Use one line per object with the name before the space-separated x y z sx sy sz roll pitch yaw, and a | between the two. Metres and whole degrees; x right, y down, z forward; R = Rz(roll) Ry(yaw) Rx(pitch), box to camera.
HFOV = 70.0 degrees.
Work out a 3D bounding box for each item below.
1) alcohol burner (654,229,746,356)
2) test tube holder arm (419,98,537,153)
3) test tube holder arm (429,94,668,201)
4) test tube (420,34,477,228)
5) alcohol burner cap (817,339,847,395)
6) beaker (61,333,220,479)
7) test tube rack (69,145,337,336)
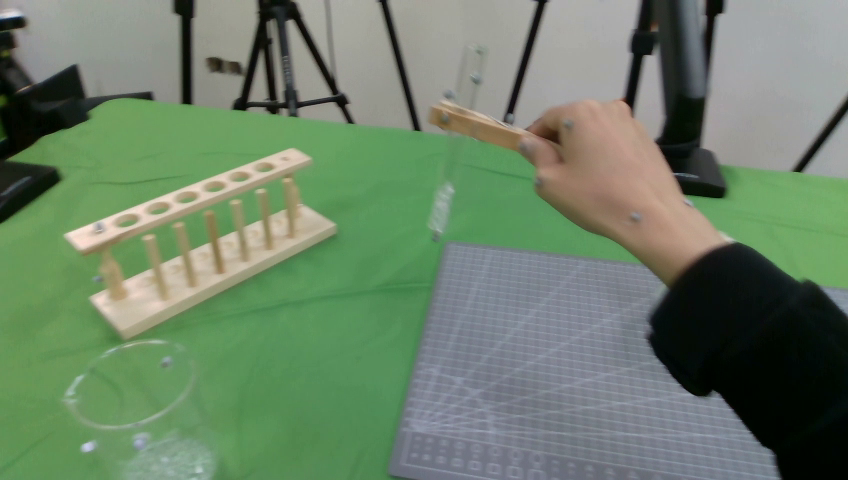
alcohol burner | 0.245 0.042 0.528 0.078 0.120 0.077 1 34 -1
test tube holder arm | 0.038 -0.081 0.427 0.087 0.015 0.010 20 37 14
test tube holder arm | 0.079 -0.067 0.417 0.177 0.015 0.013 25 38 19
test tube | 0.016 -0.075 0.447 0.017 0.151 0.017 9 31 -5
alcohol burner cap | 0.358 0.104 0.510 0.034 0.048 0.033 1 35 0
beaker | -0.184 0.125 0.408 0.084 0.101 0.073 -7 37 -11
test tube rack | -0.204 -0.010 0.606 0.066 0.086 0.242 31 45 33
